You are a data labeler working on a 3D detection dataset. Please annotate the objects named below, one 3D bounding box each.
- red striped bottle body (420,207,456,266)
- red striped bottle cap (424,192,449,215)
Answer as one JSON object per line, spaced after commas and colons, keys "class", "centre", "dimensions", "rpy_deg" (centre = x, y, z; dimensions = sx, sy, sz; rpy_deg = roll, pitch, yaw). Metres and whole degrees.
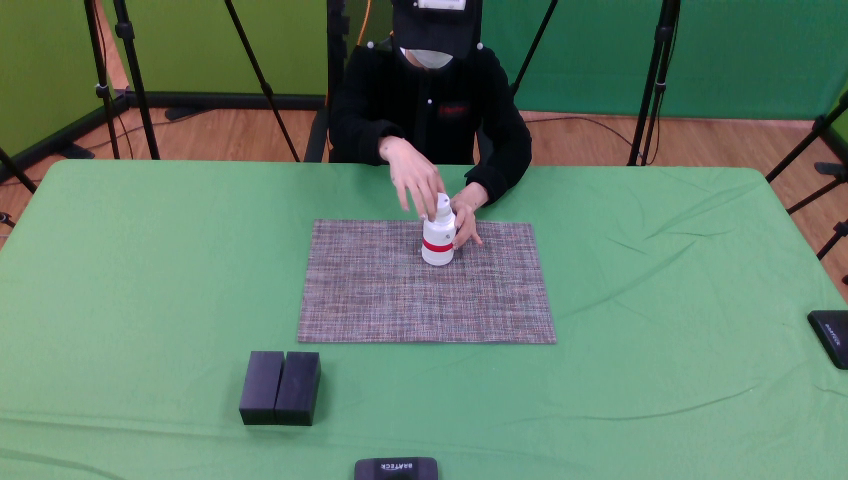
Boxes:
{"class": "red striped bottle body", "centre": [0.027, -0.012, 1.139], "dimensions": [0.063, 0.120, 0.062], "rpy_deg": [2, 45, -2]}
{"class": "red striped bottle cap", "centre": [0.022, -0.066, 1.084], "dimensions": [0.044, 0.018, 0.044], "rpy_deg": [-1, 48, 1]}
